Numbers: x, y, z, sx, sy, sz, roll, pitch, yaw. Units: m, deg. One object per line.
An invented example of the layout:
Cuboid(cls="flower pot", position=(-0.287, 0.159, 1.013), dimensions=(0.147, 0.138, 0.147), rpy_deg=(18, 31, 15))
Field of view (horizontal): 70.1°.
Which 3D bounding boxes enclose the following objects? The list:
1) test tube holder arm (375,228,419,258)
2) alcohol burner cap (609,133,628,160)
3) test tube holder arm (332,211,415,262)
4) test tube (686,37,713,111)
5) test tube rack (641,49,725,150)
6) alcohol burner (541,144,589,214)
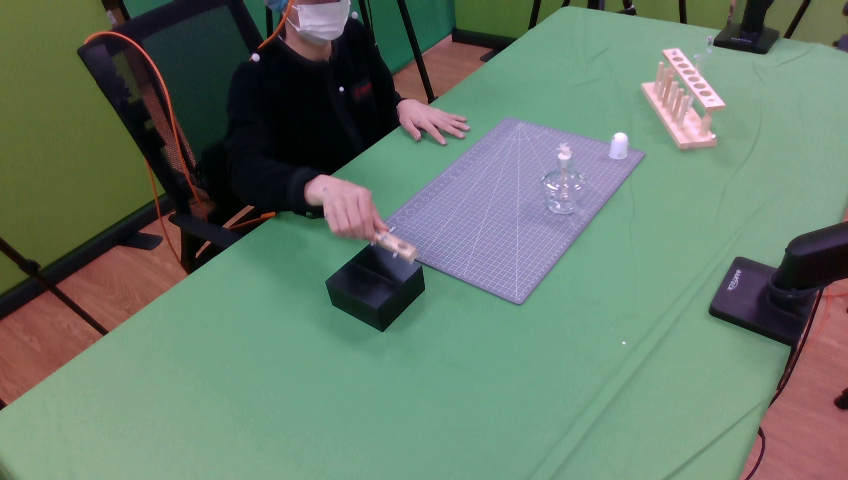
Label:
Cuboid(cls="test tube holder arm", position=(-0.041, 0.004, 0.848), dimensions=(0.087, 0.015, 0.010), rpy_deg=(26, 52, 38))
Cuboid(cls="alcohol burner cap", position=(0.356, -0.172, 1.100), dimensions=(0.034, 0.048, 0.033), rpy_deg=(-5, 41, 5))
Cuboid(cls="test tube holder arm", position=(-0.077, -0.008, 0.872), dimensions=(0.177, 0.015, 0.013), rpy_deg=(25, 51, 38))
Cuboid(cls="test tube", position=(0.509, -0.306, 1.129), dimensions=(0.017, 0.151, 0.017), rpy_deg=(-1, 45, 2))
Cuboid(cls="test tube rack", position=(0.495, -0.279, 1.175), dimensions=(0.067, 0.085, 0.241), rpy_deg=(-5, 41, 3))
Cuboid(cls="alcohol burner", position=(0.229, -0.102, 0.983), dimensions=(0.078, 0.119, 0.077), rpy_deg=(-6, 40, 5))
